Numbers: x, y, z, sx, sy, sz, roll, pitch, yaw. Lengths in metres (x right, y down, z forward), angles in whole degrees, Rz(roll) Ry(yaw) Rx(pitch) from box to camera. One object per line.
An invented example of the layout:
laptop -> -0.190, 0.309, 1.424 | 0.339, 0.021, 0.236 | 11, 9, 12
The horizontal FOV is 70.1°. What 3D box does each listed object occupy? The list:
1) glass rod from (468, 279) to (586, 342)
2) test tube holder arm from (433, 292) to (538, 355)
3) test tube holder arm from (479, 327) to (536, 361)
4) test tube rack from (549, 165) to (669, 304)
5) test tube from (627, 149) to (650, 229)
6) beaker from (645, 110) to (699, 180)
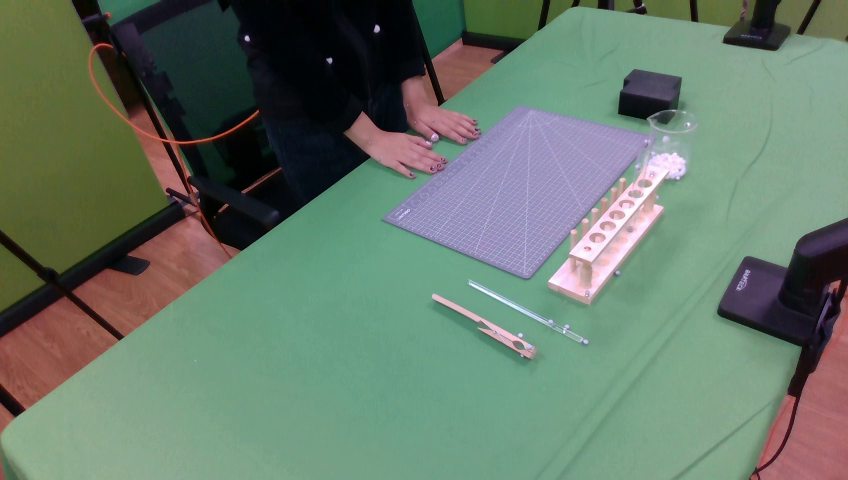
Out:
glass rod -> 0.140, 0.096, 0.853 | 0.198, 0.008, 0.008 | 27, 52, 35
test tube holder arm -> 0.081, 0.113, 0.832 | 0.177, 0.015, 0.013 | 28, 82, 36
test tube holder arm -> 0.110, 0.134, 0.805 | 0.087, 0.015, 0.010 | 29, 83, 36
test tube rack -> 0.279, -0.018, 0.902 | 0.066, 0.085, 0.243 | 24, 50, 33
test tube -> 0.311, -0.071, 0.881 | 0.017, 0.151, 0.017 | -5, 47, 5
beaker -> 0.417, -0.160, 1.033 | 0.083, 0.101, 0.074 | 25, 51, 35
